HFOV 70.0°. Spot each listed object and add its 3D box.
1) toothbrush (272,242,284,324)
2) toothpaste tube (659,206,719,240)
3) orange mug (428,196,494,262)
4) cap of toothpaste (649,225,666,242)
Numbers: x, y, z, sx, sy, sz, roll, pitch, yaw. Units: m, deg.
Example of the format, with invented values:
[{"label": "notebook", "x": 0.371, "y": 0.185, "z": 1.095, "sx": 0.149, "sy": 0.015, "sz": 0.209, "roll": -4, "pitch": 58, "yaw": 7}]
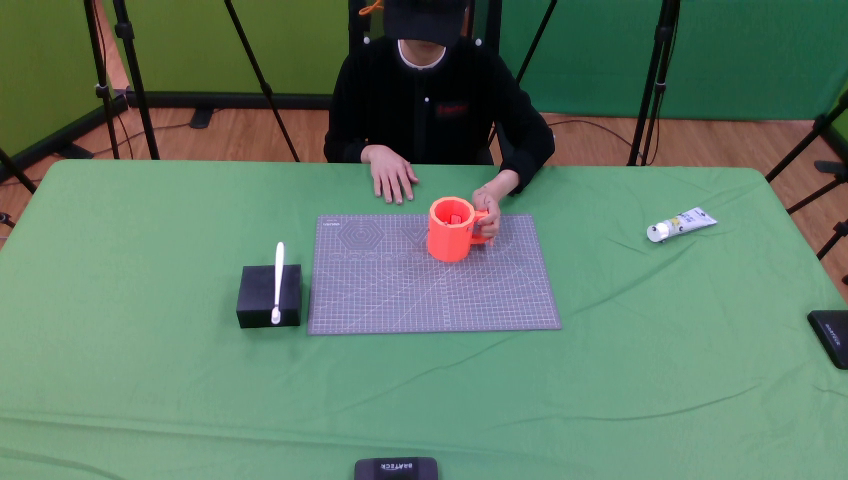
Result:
[{"label": "toothbrush", "x": -0.253, "y": 0.068, "z": 1.048, "sx": 0.014, "sy": 0.017, "sz": 0.180, "roll": -5, "pitch": 46, "yaw": -4}, {"label": "toothpaste tube", "x": 0.542, "y": -0.035, "z": 1.259, "sx": 0.165, "sy": 0.034, "sz": 0.054, "roll": -19, "pitch": 55, "yaw": -26}, {"label": "orange mug", "x": 0.070, "y": -0.023, "z": 1.164, "sx": 0.126, "sy": 0.101, "sz": 0.083, "roll": -7, "pitch": 46, "yaw": -5}, {"label": "cap of toothpaste", "x": 0.473, "y": -0.015, "z": 1.226, "sx": 0.011, "sy": 0.037, "sz": 0.037, "roll": -19, "pitch": 50, "yaw": -26}]
